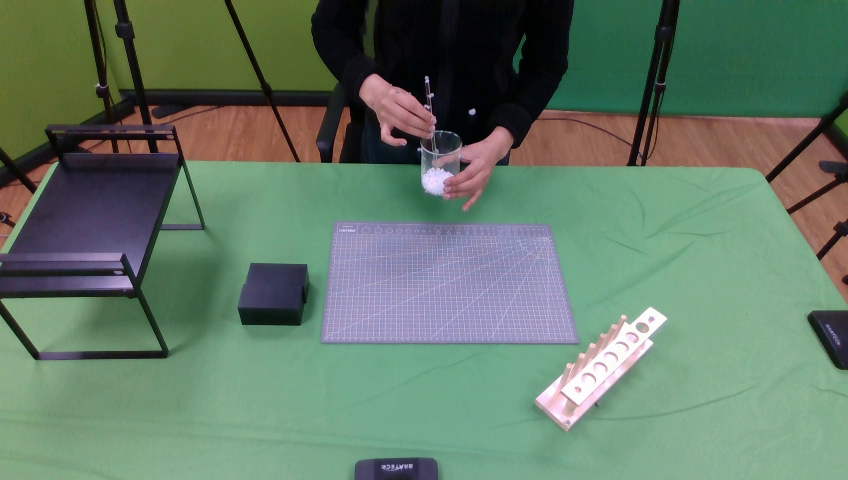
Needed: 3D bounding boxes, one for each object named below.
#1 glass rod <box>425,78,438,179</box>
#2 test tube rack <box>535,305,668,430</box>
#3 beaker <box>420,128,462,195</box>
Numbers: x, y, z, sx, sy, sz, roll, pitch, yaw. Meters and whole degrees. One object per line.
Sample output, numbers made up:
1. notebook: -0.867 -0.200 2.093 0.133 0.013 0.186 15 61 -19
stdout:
1. glass rod: 0.014 -0.188 1.047 0.008 0.201 0.008 -4 42 4
2. test tube rack: 0.290 0.193 0.984 0.242 0.085 0.066 -32 57 -30
3. beaker: 0.030 -0.140 1.091 0.074 0.101 0.083 1 45 0
